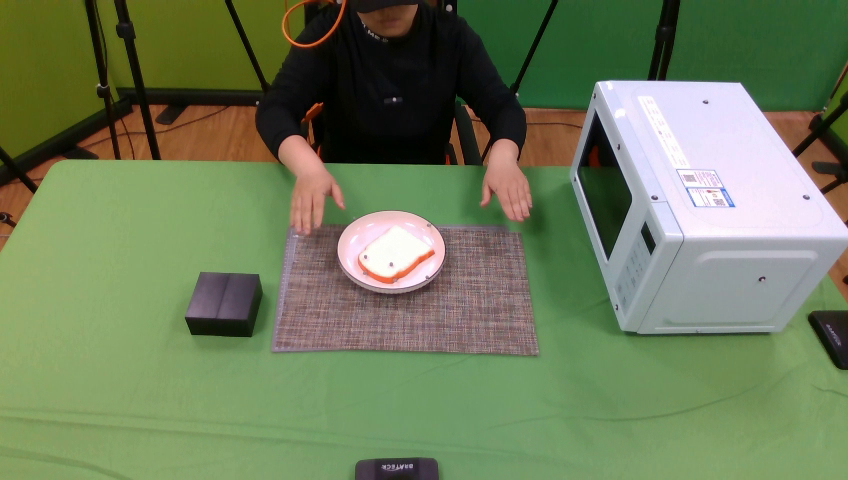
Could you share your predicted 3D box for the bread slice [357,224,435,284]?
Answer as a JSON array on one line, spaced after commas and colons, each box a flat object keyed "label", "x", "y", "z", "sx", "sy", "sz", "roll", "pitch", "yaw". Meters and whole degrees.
[{"label": "bread slice", "x": -0.059, "y": 0.028, "z": 1.153, "sx": 0.104, "sy": 0.019, "sz": 0.131, "roll": 34, "pitch": 53, "yaw": 26}]

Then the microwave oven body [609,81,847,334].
[{"label": "microwave oven body", "x": 0.501, "y": -0.070, "z": 1.132, "sx": 0.326, "sy": 0.261, "sz": 0.438, "roll": 0, "pitch": 45, "yaw": -3}]

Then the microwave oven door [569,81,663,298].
[{"label": "microwave oven door", "x": 0.353, "y": -0.104, "z": 1.147, "sx": 0.039, "sy": 0.245, "sz": 0.353, "roll": 0, "pitch": 46, "yaw": -4}]

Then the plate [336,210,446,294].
[{"label": "plate", "x": -0.062, "y": 0.026, "z": 1.153, "sx": 0.209, "sy": 0.038, "sz": 0.208, "roll": 3, "pitch": 46, "yaw": -2}]

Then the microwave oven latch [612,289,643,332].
[{"label": "microwave oven latch", "x": 0.357, "y": 0.124, "z": 1.068, "sx": 0.030, "sy": 0.029, "sz": 0.078, "roll": 0, "pitch": 45, "yaw": -3}]
